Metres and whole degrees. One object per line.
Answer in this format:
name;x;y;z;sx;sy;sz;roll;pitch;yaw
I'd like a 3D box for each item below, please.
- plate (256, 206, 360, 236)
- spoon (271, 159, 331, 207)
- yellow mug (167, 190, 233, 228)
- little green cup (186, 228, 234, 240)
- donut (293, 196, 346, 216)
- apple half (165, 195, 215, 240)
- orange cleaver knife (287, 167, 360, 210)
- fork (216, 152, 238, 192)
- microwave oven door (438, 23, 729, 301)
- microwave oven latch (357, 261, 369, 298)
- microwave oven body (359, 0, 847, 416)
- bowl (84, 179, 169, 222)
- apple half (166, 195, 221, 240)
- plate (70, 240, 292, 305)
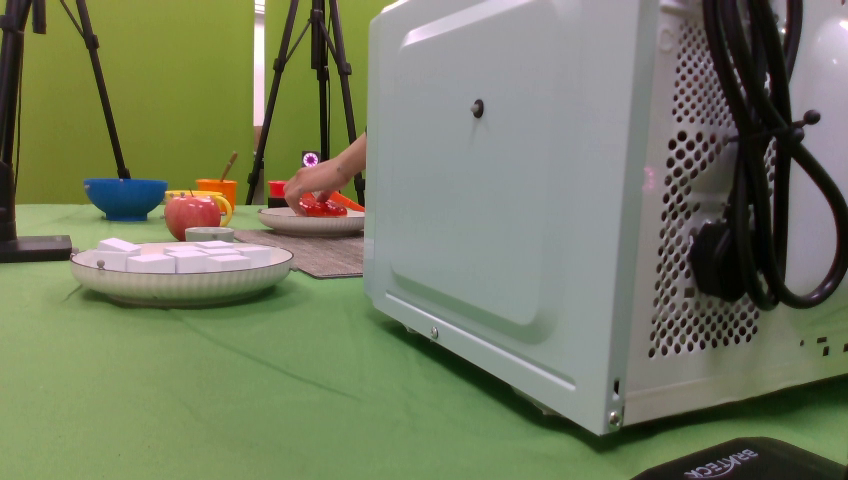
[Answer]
plate;-0.202;-0.036;1.120;0.209;0.038;0.209;2;8;0
spoon;-0.308;-0.141;1.513;0.193;0.021;0.041;-42;0;8
yellow mug;-0.415;-0.057;1.132;0.130;0.064;0.100;6;8;16
little green cup;-0.285;0.005;0.805;0.061;0.038;0.061;2;8;0
donut;-0.194;-0.054;1.125;0.099;0.048;0.099;10;7;-1
apple half;-0.377;-0.038;0.964;0.082;0.081;0.032;-4;15;-39
orange cleaver knife;-0.210;-0.089;1.383;0.212;0.077;0.012;31;4;-15
fork;-0.455;-0.132;1.366;0.028;0.018;0.207;-2;-35;-37
microwave oven door;0.181;-0.072;0.620;0.358;0.243;0.039;-2;8;-29
microwave oven latch;-0.019;0.034;0.529;0.079;0.029;0.030;0;7;-25
microwave oven body;0.211;-0.047;0.474;0.444;0.260;0.324;-1;7;-28
bowl;-0.584;-0.078;1.194;0.151;0.077;0.151;3;8;0
apple half;-0.352;-0.031;0.935;0.081;0.074;0.053;1;11;-40
plate;-0.242;0.031;0.618;0.208;0.039;0.207;2;8;0
